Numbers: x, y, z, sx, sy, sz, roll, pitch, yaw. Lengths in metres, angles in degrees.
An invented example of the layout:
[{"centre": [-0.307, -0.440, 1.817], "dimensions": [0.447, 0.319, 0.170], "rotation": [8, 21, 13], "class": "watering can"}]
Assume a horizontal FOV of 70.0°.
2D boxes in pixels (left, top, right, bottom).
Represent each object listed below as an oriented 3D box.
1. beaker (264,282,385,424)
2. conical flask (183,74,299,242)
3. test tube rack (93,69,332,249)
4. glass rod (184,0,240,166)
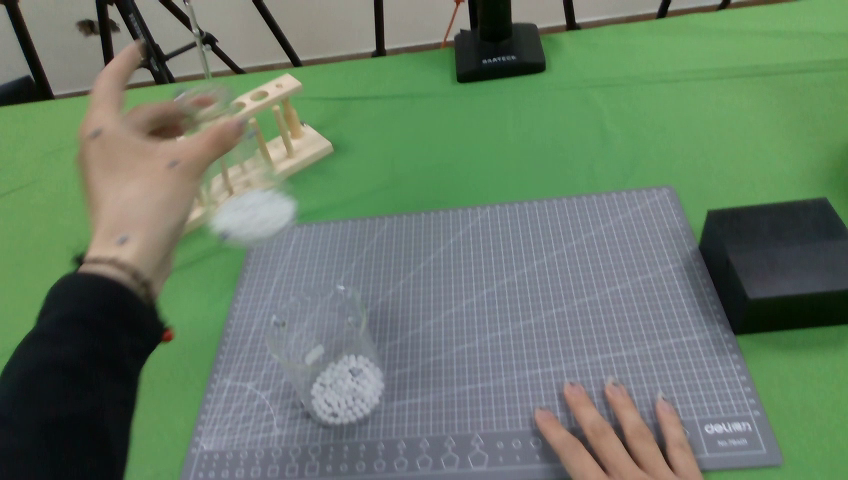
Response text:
[{"centre": [-0.071, 0.091, 0.477], "dimensions": [0.073, 0.101, 0.083], "rotation": [19, 53, 26], "class": "beaker"}, {"centre": [-0.143, -0.063, 0.461], "dimensions": [0.075, 0.123, 0.074], "rotation": [-2, 47, 3], "class": "conical flask"}, {"centre": [-0.234, -0.098, 0.698], "dimensions": [0.242, 0.086, 0.066], "rotation": [-34, 50, -20], "class": "test tube rack"}, {"centre": [-0.232, -0.167, 0.671], "dimensions": [0.008, 0.201, 0.008], "rotation": [-3, 39, 3], "class": "glass rod"}]
